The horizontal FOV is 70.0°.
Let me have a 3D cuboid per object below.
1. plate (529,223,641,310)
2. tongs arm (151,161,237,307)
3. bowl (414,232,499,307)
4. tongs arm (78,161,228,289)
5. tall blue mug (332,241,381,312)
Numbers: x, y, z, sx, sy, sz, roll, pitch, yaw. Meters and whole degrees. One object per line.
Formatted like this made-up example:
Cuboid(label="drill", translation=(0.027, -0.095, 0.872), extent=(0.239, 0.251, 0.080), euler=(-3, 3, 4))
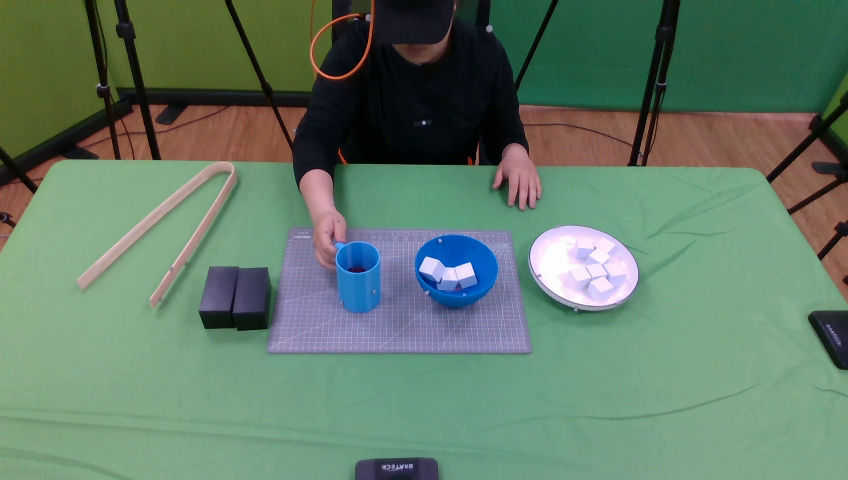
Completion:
Cuboid(label="plate", translation=(0.303, 0.053, 1.156), extent=(0.209, 0.038, 0.208), euler=(2, 46, -1))
Cuboid(label="tongs arm", translation=(-0.447, -0.026, 1.180), extent=(0.051, 0.027, 0.383), euler=(8, 46, 10))
Cuboid(label="bowl", translation=(0.056, 0.067, 1.093), extent=(0.151, 0.077, 0.150), euler=(2, 46, -2))
Cuboid(label="tongs arm", translation=(-0.524, -0.043, 1.196), extent=(0.028, 0.028, 0.386), euler=(15, 47, 22))
Cuboid(label="tall blue mug", translation=(-0.129, 0.060, 1.066), extent=(0.107, 0.108, 0.077), euler=(20, 49, 15))
